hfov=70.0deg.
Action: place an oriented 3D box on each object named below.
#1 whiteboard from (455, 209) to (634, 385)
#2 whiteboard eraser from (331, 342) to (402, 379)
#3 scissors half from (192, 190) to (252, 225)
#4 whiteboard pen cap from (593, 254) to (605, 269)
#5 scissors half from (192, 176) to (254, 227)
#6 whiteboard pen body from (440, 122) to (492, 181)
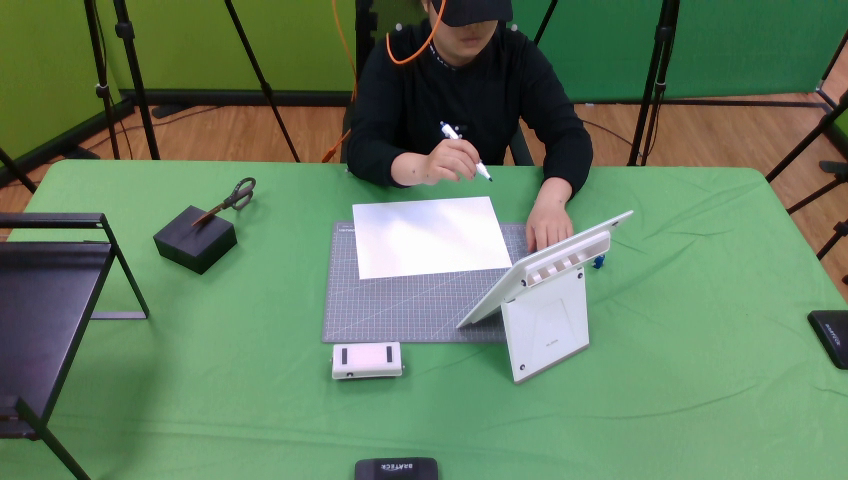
[{"bbox_3d":[0.211,0.111,0.955,0.217,0.306,0.143,-21,71,-23],"label":"whiteboard"},{"bbox_3d":[-0.094,0.198,0.986,0.113,0.042,0.055,-2,44,-6],"label":"whiteboard eraser"},{"bbox_3d":[-0.394,-0.060,1.187,0.013,0.040,0.175,25,29,12],"label":"scissors half"},{"bbox_3d":[0.340,0.041,1.179,0.018,0.033,0.018,1,45,-1],"label":"whiteboard pen cap"},{"bbox_3d":[-0.388,-0.075,1.174,0.013,0.040,0.174,29,47,8],"label":"scissors half"},{"bbox_3d":[0.076,-0.157,1.081,0.017,0.017,0.140,-32,76,-30],"label":"whiteboard pen body"}]
